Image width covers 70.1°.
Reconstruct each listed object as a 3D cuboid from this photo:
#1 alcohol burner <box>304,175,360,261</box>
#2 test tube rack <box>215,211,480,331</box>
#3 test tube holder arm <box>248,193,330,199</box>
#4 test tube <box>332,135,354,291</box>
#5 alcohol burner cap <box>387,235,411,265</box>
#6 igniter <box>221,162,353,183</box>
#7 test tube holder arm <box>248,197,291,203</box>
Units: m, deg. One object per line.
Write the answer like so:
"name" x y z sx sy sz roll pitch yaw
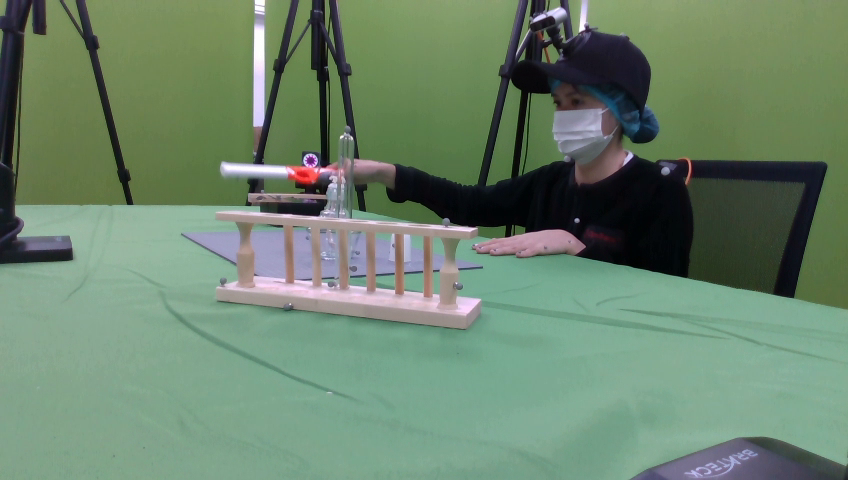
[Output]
"alcohol burner" -0.126 -0.031 0.838 0.078 0.119 0.078 3 5 0
"test tube rack" -0.071 0.023 0.565 0.242 0.085 0.067 5 7 16
"test tube holder arm" -0.268 -0.088 1.218 0.179 0.013 0.015 -5 16 -40
"test tube" -0.078 -0.025 0.581 0.017 0.150 0.017 3 7 0
"alcohol burner cap" -0.035 0.009 0.839 0.034 0.048 0.034 2 6 0
"igniter" -0.278 -0.140 1.261 0.278 0.025 0.057 0 37 -34
"test tube holder arm" -0.303 -0.079 1.190 0.088 0.010 0.015 -6 17 -40
